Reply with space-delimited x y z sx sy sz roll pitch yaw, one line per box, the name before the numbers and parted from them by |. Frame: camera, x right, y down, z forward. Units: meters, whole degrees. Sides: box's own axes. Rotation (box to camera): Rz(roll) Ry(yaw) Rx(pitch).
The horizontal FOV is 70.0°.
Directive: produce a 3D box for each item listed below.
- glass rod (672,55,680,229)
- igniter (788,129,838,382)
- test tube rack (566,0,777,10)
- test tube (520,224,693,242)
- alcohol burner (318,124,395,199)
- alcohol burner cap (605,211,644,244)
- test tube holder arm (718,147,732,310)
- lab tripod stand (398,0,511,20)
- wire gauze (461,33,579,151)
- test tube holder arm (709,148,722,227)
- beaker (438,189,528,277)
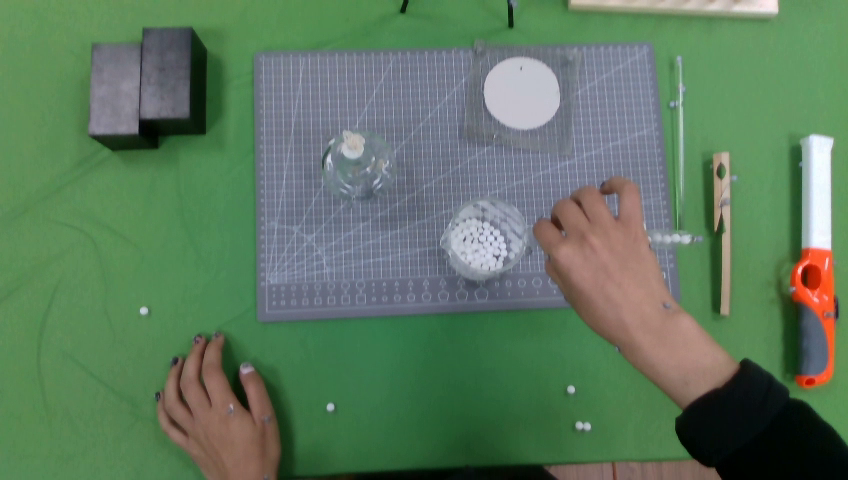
glass rod | 0.281 -0.111 0.676 0.008 0.008 0.199 3 84 -2
igniter | 0.421 0.015 0.656 0.057 0.025 0.275 7 82 -11
test tube rack | 0.286 -0.309 0.666 0.242 0.085 0.066 1 82 -2
test tube | 0.161 -0.006 0.536 0.150 0.017 0.017 0 81 2
alcohol burner | -0.069 -0.083 0.601 0.078 0.119 0.077 0 81 0
alcohol burner cap | 0.215 -0.016 0.641 0.034 0.048 0.033 0 81 -2
test tube holder arm | 0.327 -0.013 0.658 0.013 0.015 0.178 -5 81 34
lab tripod stand | 0.041 -0.302 0.630 0.148 0.131 0.148 0 84 -2
wire gauze | 0.107 -0.168 0.675 0.125 0.011 0.121 9 83 -2
test tube holder arm | 0.322 -0.058 0.667 0.010 0.015 0.087 -4 81 34
beaker | 0.054 -0.001 0.603 0.084 0.100 0.073 -10 82 -3
